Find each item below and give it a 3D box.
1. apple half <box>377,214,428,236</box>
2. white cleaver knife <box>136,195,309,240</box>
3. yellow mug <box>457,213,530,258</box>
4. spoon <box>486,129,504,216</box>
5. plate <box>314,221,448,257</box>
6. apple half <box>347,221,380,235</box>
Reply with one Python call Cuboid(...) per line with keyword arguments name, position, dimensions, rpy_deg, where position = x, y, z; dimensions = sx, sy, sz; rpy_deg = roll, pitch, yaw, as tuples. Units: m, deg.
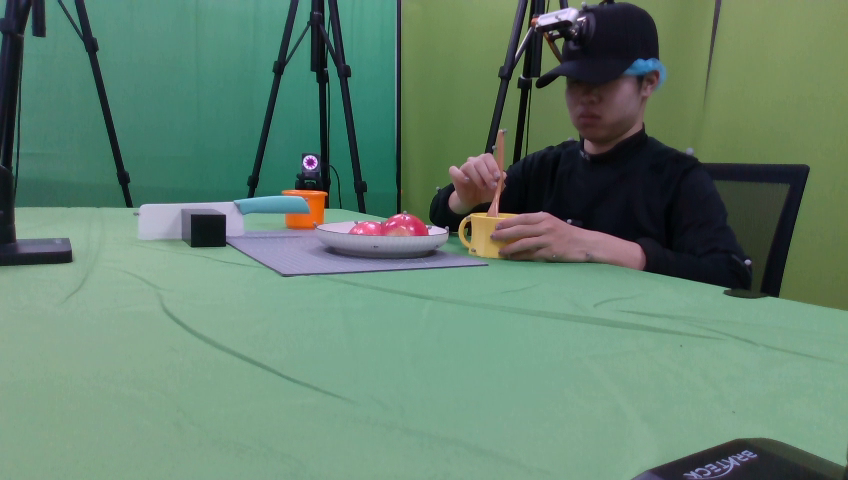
Cuboid(name="apple half", position=(-0.034, -0.013, 0.924), dimensions=(0.080, 0.053, 0.075), rpy_deg=(5, 10, 16))
Cuboid(name="white cleaver knife", position=(-0.337, -0.039, 1.037), dimensions=(0.288, 0.066, 0.021), rpy_deg=(-6, 15, -29))
Cuboid(name="yellow mug", position=(0.108, -0.011, 0.992), dimensions=(0.130, 0.064, 0.100), rpy_deg=(7, 8, 36))
Cuboid(name="spoon", position=(0.117, -0.085, 0.976), dimensions=(0.022, 0.193, 0.041), rpy_deg=(13, -12, -27))
Cuboid(name="plate", position=(-0.067, -0.002, 0.948), dimensions=(0.209, 0.038, 0.209), rpy_deg=(3, 7, 0))
Cuboid(name="apple half", position=(-0.089, -0.014, 0.985), dimensions=(0.081, 0.033, 0.081), rpy_deg=(5, 5, 0))
